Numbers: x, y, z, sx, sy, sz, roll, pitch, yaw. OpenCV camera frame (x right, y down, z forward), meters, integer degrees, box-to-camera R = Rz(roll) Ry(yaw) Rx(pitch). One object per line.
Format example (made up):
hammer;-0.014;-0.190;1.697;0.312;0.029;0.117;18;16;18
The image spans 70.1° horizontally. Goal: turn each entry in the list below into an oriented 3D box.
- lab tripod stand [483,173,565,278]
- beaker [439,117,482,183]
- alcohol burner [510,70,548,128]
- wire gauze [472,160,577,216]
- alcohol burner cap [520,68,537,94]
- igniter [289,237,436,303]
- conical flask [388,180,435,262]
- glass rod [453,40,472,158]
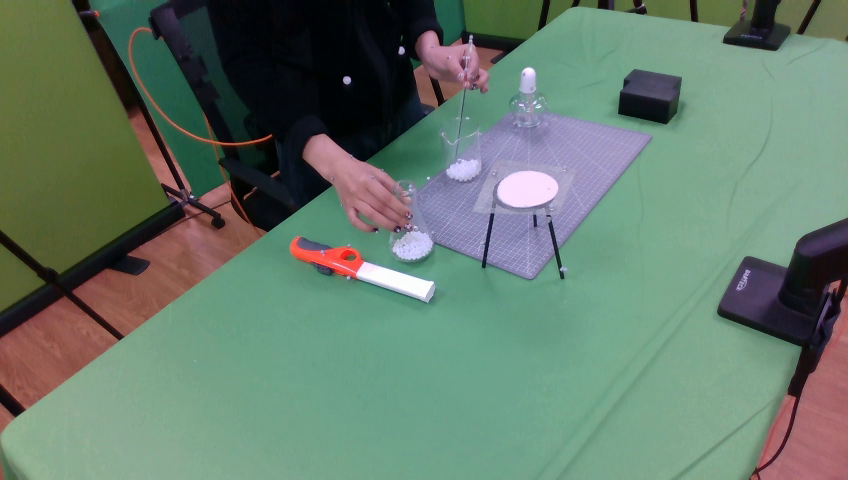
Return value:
lab tripod stand;0.151;-0.025;0.896;0.148;0.132;0.147;-7;40;6
beaker;0.068;-0.160;1.096;0.073;0.101;0.084;7;43;19
alcohol burner;0.209;-0.287;1.208;0.078;0.119;0.077;-5;42;5
wire gauze;0.143;-0.073;0.850;0.121;0.011;0.125;8;43;22
alcohol burner cap;0.205;-0.313;1.183;0.034;0.048;0.033;-3;50;4
igniter;-0.106;0.043;0.949;0.274;0.025;0.057;16;57;27
conical flask;-0.025;-0.032;0.938;0.075;0.122;0.075;-4;35;3
glass rod;0.065;-0.241;1.042;0.008;0.200;0.008;7;17;-2
